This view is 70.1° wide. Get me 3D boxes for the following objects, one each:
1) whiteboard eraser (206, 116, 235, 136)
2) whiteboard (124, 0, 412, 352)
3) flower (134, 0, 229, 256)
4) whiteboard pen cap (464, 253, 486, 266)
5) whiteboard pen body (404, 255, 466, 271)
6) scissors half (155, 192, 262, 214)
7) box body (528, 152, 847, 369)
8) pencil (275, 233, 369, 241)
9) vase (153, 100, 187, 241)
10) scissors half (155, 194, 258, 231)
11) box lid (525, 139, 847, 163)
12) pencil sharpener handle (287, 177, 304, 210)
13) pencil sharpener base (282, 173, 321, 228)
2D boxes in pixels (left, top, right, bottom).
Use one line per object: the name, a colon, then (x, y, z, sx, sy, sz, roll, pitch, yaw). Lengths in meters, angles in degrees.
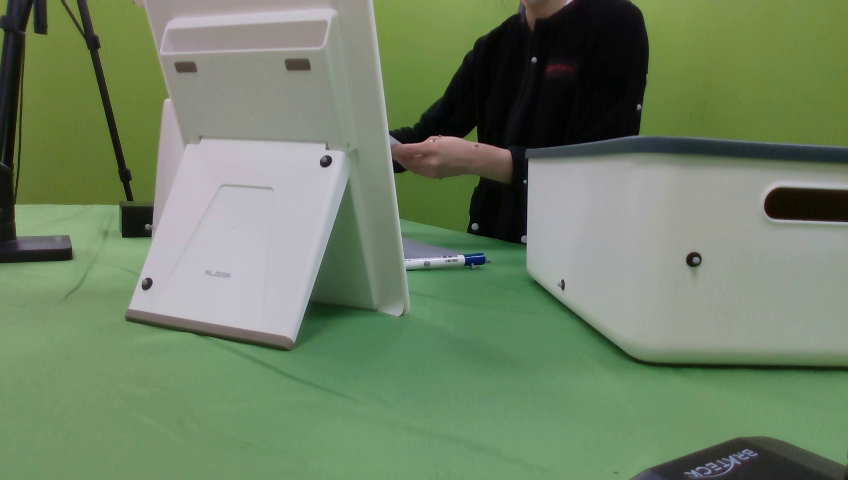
whiteboard eraser: (-0.450, -0.252, 1.335, 0.056, 0.042, 0.112, 1, 7, -22)
whiteboard: (-0.151, -0.049, 0.472, 0.216, 0.305, 0.144, 6, 27, 24)
flower: (-0.282, -0.147, 0.713, 0.038, 0.362, 0.044, -23, 23, -31)
whiteboard pen cap: (0.066, 0.027, 0.817, 0.033, 0.018, 0.018, -6, 10, -23)
whiteboard pen body: (0.012, 0.030, 0.792, 0.141, 0.017, 0.017, -3, 9, -24)
scissors half: (-0.371, -0.069, 1.051, 0.176, 0.040, 0.013, 3, 23, -23)
box body: (0.258, -0.005, 0.591, 0.254, 0.160, 0.363, 2, 7, -4)
pencil: (-0.169, -0.006, 1.036, 0.195, 0.012, 0.012, -2, 9, -45)
vase: (-0.278, -0.066, 0.736, 0.098, 0.200, 0.098, 2, 9, 0)
scissors half: (-0.378, -0.051, 1.058, 0.176, 0.040, 0.012, 21, 20, -30)
box lid: (0.261, -0.078, 0.580, 0.264, 0.015, 0.371, 2, 7, -4)
pencil sharpener handle: (-0.269, -0.096, 1.257, 0.036, 0.067, 0.030, -8, 8, -27)
pencil sharpener base: (-0.247, -0.080, 1.212, 0.061, 0.107, 0.076, -2, 5, -28)
